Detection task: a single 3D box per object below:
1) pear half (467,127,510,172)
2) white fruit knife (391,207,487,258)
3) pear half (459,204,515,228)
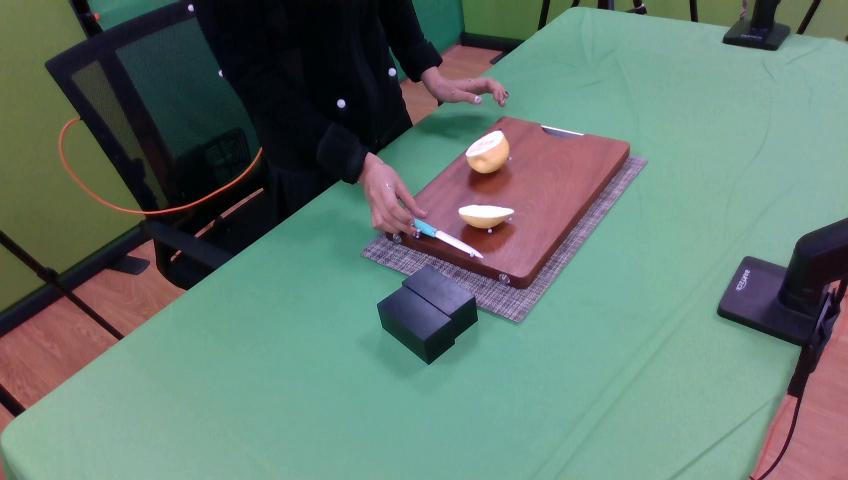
[{"bbox_3d":[0.124,-0.162,1.079,0.076,0.056,0.110,-1,40,38],"label":"pear half"},{"bbox_3d":[0.018,-0.012,0.951,0.205,0.016,0.027,27,34,37],"label":"white fruit knife"},{"bbox_3d":[0.098,-0.036,0.953,0.088,0.031,0.070,4,25,-4],"label":"pear half"}]
